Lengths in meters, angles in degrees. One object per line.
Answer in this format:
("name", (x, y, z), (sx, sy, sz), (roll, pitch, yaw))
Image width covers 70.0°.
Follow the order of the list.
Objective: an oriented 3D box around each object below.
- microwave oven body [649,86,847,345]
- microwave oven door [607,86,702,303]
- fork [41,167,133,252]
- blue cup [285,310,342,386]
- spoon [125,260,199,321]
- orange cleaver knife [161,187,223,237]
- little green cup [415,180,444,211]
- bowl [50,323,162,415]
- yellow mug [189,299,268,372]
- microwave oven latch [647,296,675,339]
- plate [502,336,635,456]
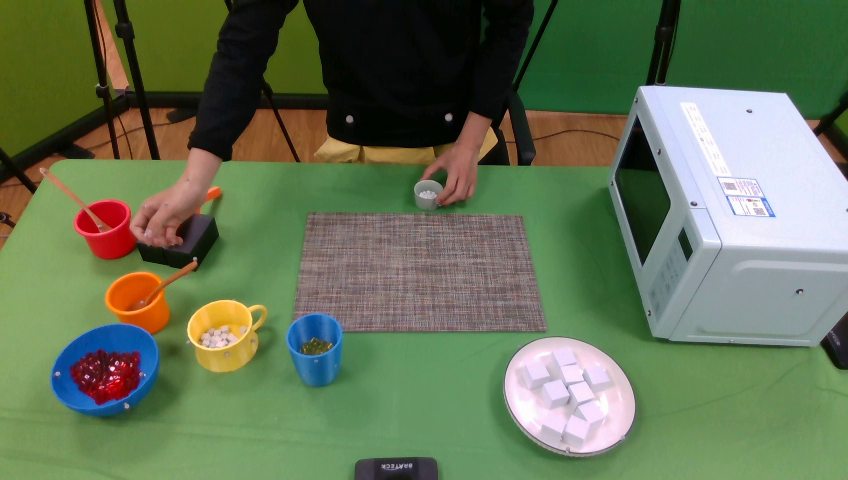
("microwave oven body", (0.568, -0.053, 1.118), (0.326, 0.261, 0.439), (2, 45, -1))
("microwave oven door", (0.423, -0.094, 1.141), (0.039, 0.245, 0.353), (3, 46, -1))
("fork", (-0.624, -0.055, 1.121), (0.208, 0.018, 0.028), (49, 52, -15))
("blue cup", (-0.170, 0.179, 0.958), (0.093, 0.101, 0.092), (2, 44, -1))
("spoon", (-0.434, 0.083, 1.000), (0.022, 0.194, 0.041), (34, 34, -35))
("orange cleaver knife", (-0.448, -0.058, 1.180), (0.012, 0.077, 0.211), (13, 17, 6))
("little green cup", (0.010, -0.093, 1.279), (0.061, 0.039, 0.061), (4, 47, -4))
("bowl", (-0.472, 0.209, 0.924), (0.151, 0.077, 0.150), (2, 45, -2))
("yellow mug", (-0.316, 0.148, 1.002), (0.131, 0.064, 0.099), (-32, 56, -32))
("microwave oven latch", (0.413, 0.134, 1.061), (0.030, 0.029, 0.078), (5, 45, 2))
("plate", (0.225, 0.248, 0.963), (0.208, 0.039, 0.206), (2, 46, -2))
